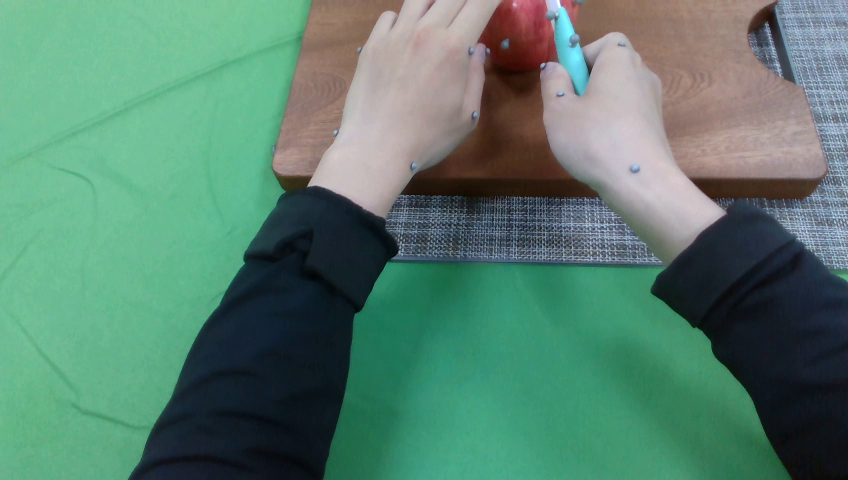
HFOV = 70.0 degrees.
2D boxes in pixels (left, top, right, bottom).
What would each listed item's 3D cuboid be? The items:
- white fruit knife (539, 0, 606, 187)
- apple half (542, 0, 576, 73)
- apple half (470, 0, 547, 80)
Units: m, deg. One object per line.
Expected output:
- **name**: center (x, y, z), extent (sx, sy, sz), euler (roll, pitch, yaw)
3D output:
- **white fruit knife**: center (0.090, -0.137, 0.410), extent (0.016, 0.027, 0.206), euler (-11, 78, -6)
- **apple half**: center (0.100, -0.172, 0.470), extent (0.033, 0.082, 0.080), euler (-10, 59, 6)
- **apple half**: center (0.063, -0.165, 0.471), extent (0.053, 0.075, 0.080), euler (-11, 63, 5)
